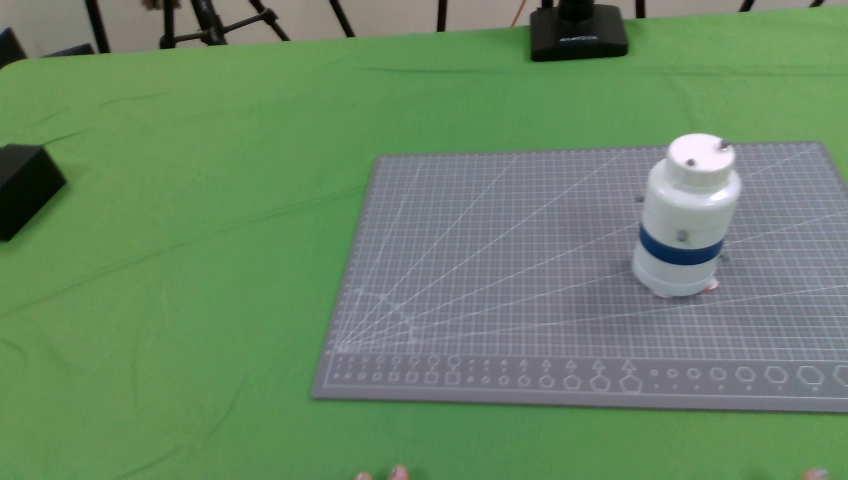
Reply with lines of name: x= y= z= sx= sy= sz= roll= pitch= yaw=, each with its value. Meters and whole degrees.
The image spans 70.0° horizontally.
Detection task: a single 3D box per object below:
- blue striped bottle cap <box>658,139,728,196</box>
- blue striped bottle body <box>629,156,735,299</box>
blue striped bottle cap: x=0.188 y=-0.052 z=0.425 sx=0.044 sy=0.021 sz=0.044 roll=-4 pitch=45 yaw=4
blue striped bottle body: x=0.195 y=-0.016 z=0.461 sx=0.063 sy=0.122 sz=0.062 roll=-5 pitch=45 yaw=5
